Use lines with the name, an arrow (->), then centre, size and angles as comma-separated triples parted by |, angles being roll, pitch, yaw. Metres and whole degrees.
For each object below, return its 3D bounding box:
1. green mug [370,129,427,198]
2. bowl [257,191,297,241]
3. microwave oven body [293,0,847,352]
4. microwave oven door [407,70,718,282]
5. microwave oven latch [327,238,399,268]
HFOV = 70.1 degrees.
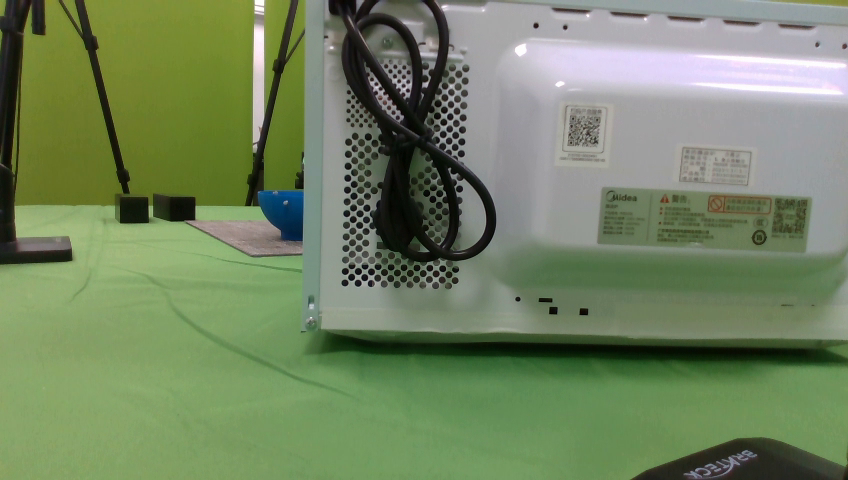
green mug -> -0.041, -0.122, 0.995 | 0.092, 0.105, 0.125 | 2, 2, -2
bowl -> -0.206, -0.041, 1.027 | 0.151, 0.077, 0.151 | 3, 8, 0
microwave oven body -> 0.122, -0.055, 0.550 | 0.442, 0.260, 0.325 | 3, 7, -5
microwave oven door -> 0.159, -0.083, 0.745 | 0.355, 0.243, 0.039 | 4, 8, 11
microwave oven latch -> -0.069, 0.015, 0.694 | 0.079, 0.029, 0.030 | 3, 7, -3
